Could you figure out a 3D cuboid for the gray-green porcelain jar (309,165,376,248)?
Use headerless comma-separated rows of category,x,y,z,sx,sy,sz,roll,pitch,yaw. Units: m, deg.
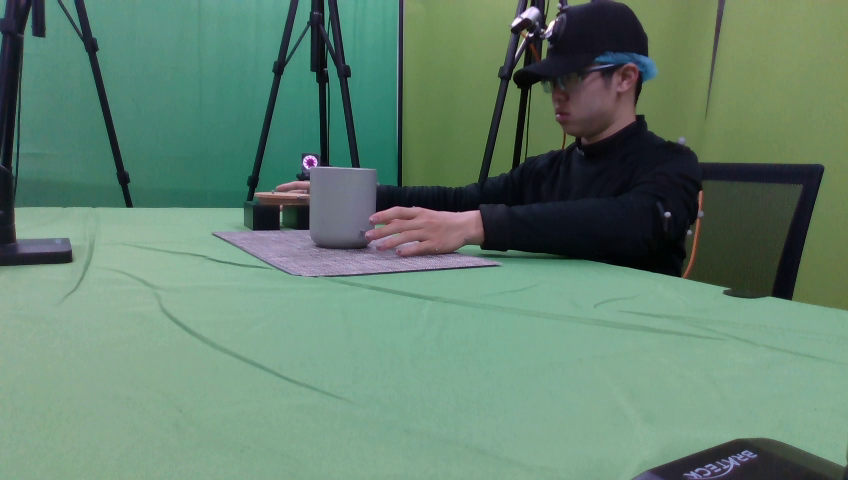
gray-green porcelain jar,-0.130,-0.054,0.965,0.106,0.126,0.106,2,7,0

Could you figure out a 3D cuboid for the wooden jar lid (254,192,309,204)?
wooden jar lid,-0.287,-0.085,1.222,0.108,0.020,0.108,3,7,0
